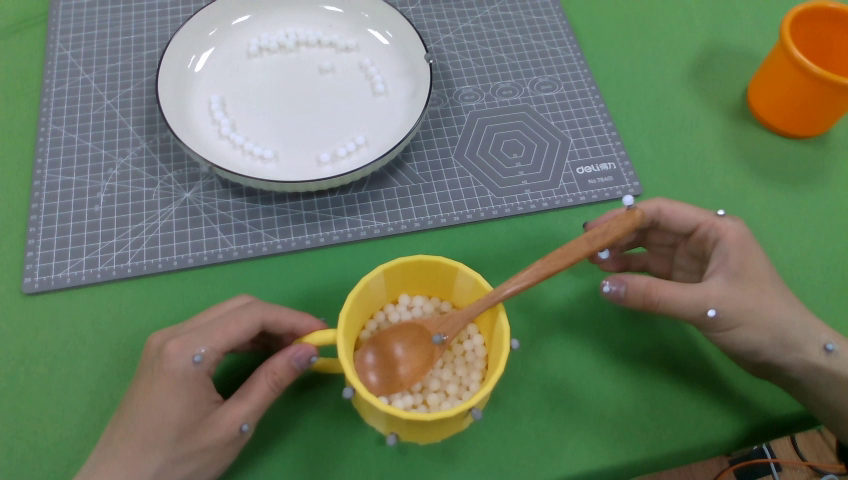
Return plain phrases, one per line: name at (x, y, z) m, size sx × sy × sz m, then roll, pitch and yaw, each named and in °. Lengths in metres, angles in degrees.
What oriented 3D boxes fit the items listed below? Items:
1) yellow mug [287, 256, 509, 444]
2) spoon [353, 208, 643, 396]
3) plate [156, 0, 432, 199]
yellow mug at (-0.017, 0.068, 0.369) m, size 0.131 × 0.064 × 0.099 m, roll -2°, pitch 61°, yaw -4°
spoon at (0.041, 0.036, 0.354) m, size 0.194 × 0.022 × 0.041 m, roll -32°, pitch 71°, yaw 15°
plate at (-0.097, -0.116, 0.477) m, size 0.208 × 0.039 × 0.206 m, roll 2°, pitch 61°, yaw -3°
